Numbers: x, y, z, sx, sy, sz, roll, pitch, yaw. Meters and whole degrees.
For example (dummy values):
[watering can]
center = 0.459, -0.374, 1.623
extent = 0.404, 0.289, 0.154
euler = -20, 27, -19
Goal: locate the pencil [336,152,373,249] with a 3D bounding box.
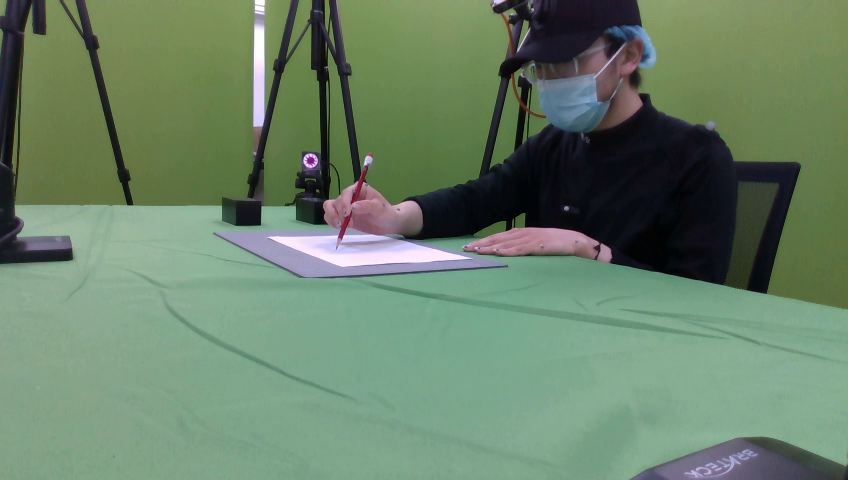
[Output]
[pencil]
center = -0.108, -0.065, 0.938
extent = 0.012, 0.194, 0.012
euler = 10, -34, 7
